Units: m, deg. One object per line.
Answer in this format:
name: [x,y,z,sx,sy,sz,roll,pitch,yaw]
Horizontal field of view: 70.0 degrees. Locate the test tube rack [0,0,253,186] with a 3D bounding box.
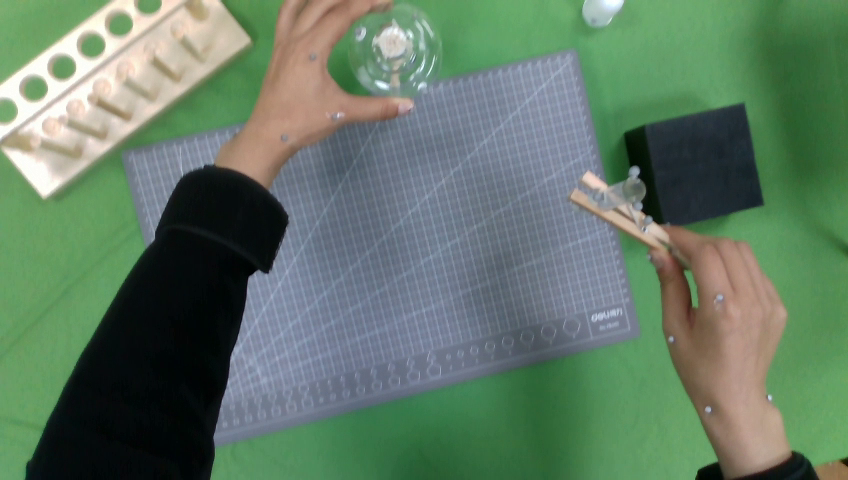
test tube rack: [-0.274,-0.149,0.526,0.242,0.085,0.067,-38,94,-1]

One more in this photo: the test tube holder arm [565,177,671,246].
test tube holder arm: [0.145,-0.021,0.449,0.088,0.015,0.010,28,100,-2]

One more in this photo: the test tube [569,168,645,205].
test tube: [0.127,-0.036,0.438,0.017,0.150,0.017,0,90,1]

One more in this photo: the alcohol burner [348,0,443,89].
alcohol burner: [-0.023,-0.160,0.476,0.078,0.118,0.078,0,101,-1]

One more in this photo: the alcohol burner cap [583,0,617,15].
alcohol burner cap: [0.174,-0.239,0.579,0.034,0.048,0.034,0,92,-3]

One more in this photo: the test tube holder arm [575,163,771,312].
test tube holder arm: [0.186,-0.001,0.450,0.178,0.015,0.013,34,100,-4]
